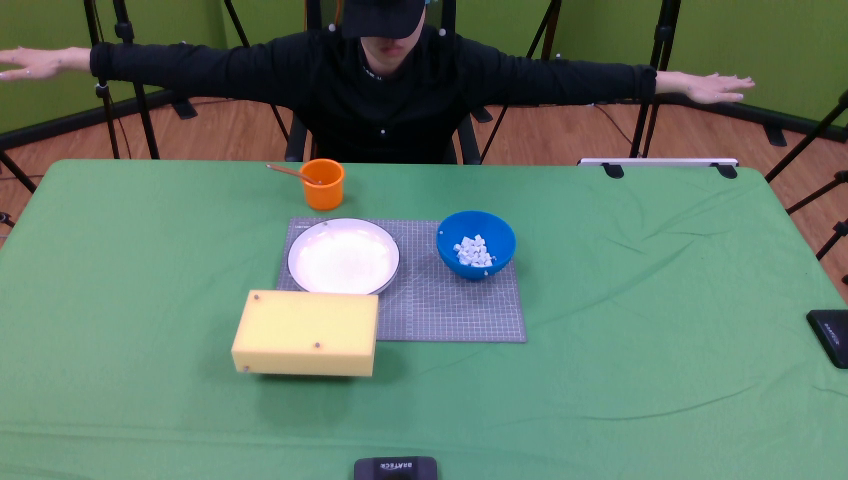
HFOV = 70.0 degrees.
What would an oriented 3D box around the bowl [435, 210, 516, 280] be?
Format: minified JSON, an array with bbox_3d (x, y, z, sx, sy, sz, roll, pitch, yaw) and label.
[{"bbox_3d":[0.093,0.022,1.141,0.151,0.077,0.150,2,46,-2],"label":"bowl"}]

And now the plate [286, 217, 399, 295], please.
[{"bbox_3d":[-0.150,0.041,1.131,0.209,0.038,0.208,2,45,-2],"label":"plate"}]

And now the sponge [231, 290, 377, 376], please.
[{"bbox_3d":[-0.180,0.145,0.949,0.207,0.061,0.117,2,46,-2],"label":"sponge"}]

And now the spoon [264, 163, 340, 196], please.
[{"bbox_3d":[-0.241,-0.123,1.211,0.021,0.195,0.041,-49,54,13],"label":"spoon"}]
